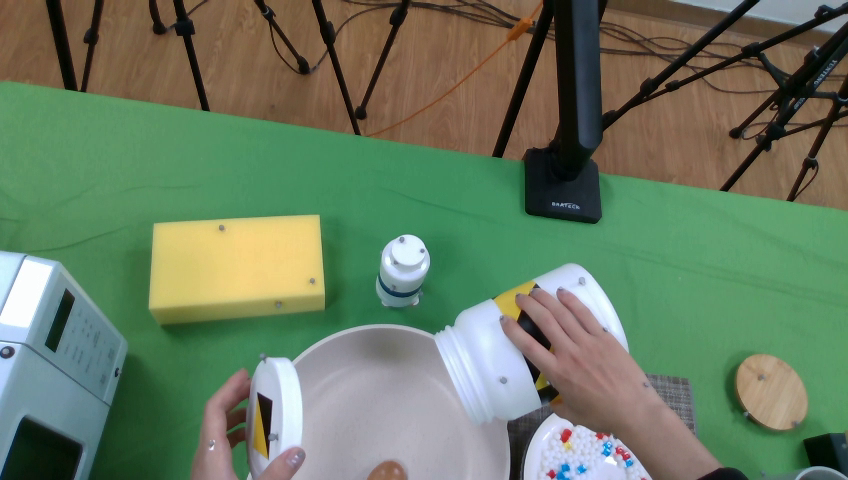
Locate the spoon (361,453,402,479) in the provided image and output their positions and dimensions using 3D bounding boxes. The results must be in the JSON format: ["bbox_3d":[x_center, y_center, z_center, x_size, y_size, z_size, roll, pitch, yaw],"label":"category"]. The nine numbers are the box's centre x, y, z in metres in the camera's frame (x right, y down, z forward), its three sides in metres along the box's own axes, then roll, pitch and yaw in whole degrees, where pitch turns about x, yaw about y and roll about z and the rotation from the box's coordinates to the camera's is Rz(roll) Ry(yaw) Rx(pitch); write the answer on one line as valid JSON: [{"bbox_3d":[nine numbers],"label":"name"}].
[{"bbox_3d":[-0.089,0.301,0.661,0.041,0.022,0.194,50,40,8],"label":"spoon"}]

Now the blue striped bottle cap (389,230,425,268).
[{"bbox_3d":[-0.021,0.011,0.748,0.045,0.021,0.044,4,60,-7],"label":"blue striped bottle cap"}]

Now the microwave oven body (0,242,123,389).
[{"bbox_3d":[-0.514,0.229,0.523,0.327,0.261,0.438,9,63,-7],"label":"microwave oven body"}]

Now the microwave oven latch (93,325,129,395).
[{"bbox_3d":[-0.368,0.138,0.704,0.030,0.029,0.078,8,63,-7],"label":"microwave oven latch"}]

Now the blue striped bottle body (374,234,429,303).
[{"bbox_3d":[-0.029,0.033,0.794,0.063,0.121,0.062,4,63,-8],"label":"blue striped bottle body"}]

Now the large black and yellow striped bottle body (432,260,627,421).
[{"bbox_3d":[0.113,0.114,0.673,0.184,0.131,0.129,-23,69,-3],"label":"large black and yellow striped bottle body"}]

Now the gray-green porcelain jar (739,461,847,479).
[{"bbox_3d":[0.446,0.330,0.734,0.106,0.127,0.105,4,63,-8],"label":"gray-green porcelain jar"}]

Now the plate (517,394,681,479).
[{"bbox_3d":[0.214,0.298,0.752,0.209,0.038,0.207,4,63,-8],"label":"plate"}]

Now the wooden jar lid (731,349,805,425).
[{"bbox_3d":[0.486,0.209,0.861,0.108,0.021,0.107,4,65,-8],"label":"wooden jar lid"}]

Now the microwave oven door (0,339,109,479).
[{"bbox_3d":[-0.374,0.286,0.515,0.039,0.245,0.353,8,62,-6],"label":"microwave oven door"}]

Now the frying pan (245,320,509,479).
[{"bbox_3d":[-0.015,0.323,0.659,0.307,0.103,0.483,-13,59,-16],"label":"frying pan"}]

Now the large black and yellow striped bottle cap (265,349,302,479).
[{"bbox_3d":[-0.130,0.158,0.553,0.019,0.115,0.114,-4,64,-19],"label":"large black and yellow striped bottle cap"}]

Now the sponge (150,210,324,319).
[{"bbox_3d":[-0.238,0.031,0.790,0.207,0.061,0.117,-4,65,-13],"label":"sponge"}]

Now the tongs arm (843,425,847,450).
[{"bbox_3d":[0.568,0.423,0.730,0.051,0.026,0.382,4,74,-11],"label":"tongs arm"}]
